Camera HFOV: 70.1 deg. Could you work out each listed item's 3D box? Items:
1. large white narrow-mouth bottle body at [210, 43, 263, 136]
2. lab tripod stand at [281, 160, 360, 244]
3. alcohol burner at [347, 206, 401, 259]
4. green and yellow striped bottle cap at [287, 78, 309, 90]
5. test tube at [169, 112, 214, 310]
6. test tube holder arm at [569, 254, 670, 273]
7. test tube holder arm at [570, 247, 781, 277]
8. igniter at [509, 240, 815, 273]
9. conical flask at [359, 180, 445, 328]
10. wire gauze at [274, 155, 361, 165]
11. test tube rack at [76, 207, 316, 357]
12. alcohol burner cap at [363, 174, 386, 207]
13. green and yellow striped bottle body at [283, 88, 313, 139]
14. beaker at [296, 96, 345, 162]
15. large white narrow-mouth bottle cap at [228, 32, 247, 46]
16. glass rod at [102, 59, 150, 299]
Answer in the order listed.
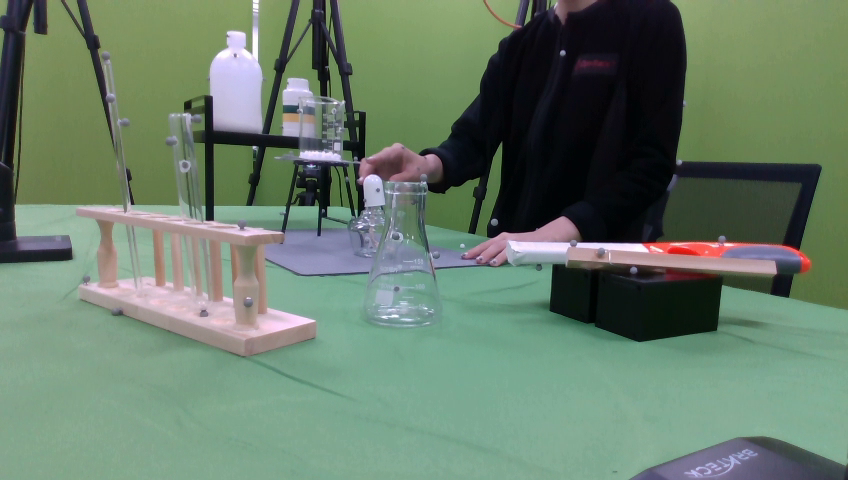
[{"bbox_3d":[-0.369,-0.306,1.194,0.102,0.194,0.102,3,8,0],"label":"large white narrow-mouth bottle body"},{"bbox_3d":[-0.170,-0.063,0.983,0.148,0.131,0.148,1,7,0],"label":"lab tripod stand"},{"bbox_3d":[-0.071,-0.034,0.867,0.078,0.119,0.078,0,7,0],"label":"alcohol burner"},{"bbox_3d":[-0.265,-0.326,1.268,0.045,0.020,0.045,4,6,0],"label":"green and yellow striped bottle cap"},{"bbox_3d":[-0.175,-0.020,0.455,0.017,0.150,0.017,-3,9,1],"label":"test tube"},{"bbox_3d":[0.172,0.019,0.532,0.088,0.015,0.010,3,-23,4],"label":"test tube holder arm"},{"bbox_3d":[0.217,0.019,0.524,0.178,0.015,0.013,3,-23,3],"label":"test tube holder arm"},{"bbox_3d":[0.220,0.015,0.566,0.277,0.025,0.057,2,16,0],"label":"igniter"},{"bbox_3d":[-0.017,0.010,0.522,0.075,0.122,0.075,2,8,0],"label":"conical flask"},{"bbox_3d":[-0.174,-0.129,0.978,0.125,0.011,0.121,-2,6,-19],"label":"wire gauze"},{"bbox_3d":[-0.196,0.023,0.500,0.241,0.085,0.067,8,9,36],"label":"test tube rack"},{"bbox_3d":[-0.072,-0.070,0.861,0.034,0.048,0.034,-7,6,1],"label":"alcohol burner cap"},{"bbox_3d":[-0.266,-0.275,1.275,0.063,0.119,0.063,3,7,0],"label":"green and yellow striped bottle body"},{"bbox_3d":[-0.162,-0.175,0.966,0.083,0.100,0.074,7,8,33],"label":"beaker"},{"bbox_3d":[-0.364,-0.391,1.180,0.038,0.024,0.037,3,8,0],"label":"large white narrow-mouth bottle cap"},{"bbox_3d":[-0.244,-0.045,0.496,0.008,0.199,0.008,-3,13,1],"label":"glass rod"}]
